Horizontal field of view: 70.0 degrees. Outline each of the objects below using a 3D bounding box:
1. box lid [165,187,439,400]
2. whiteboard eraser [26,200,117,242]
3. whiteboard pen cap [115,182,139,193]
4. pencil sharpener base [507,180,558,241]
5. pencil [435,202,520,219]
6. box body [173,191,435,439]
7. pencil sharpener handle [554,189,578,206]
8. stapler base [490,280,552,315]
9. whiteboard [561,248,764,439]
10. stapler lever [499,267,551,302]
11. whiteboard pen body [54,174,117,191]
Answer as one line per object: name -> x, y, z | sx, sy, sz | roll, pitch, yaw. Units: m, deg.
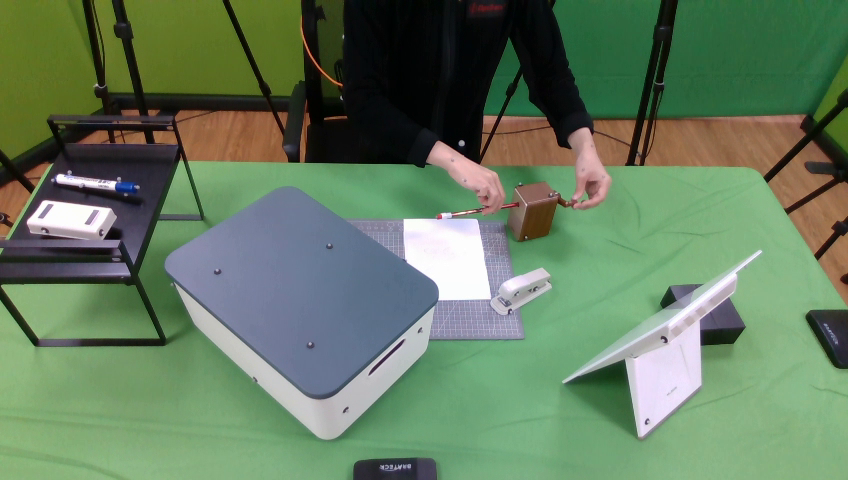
box lid -> -0.186, 0.060, 0.925 | 0.370, 0.015, 0.263 | 32, 53, 25
whiteboard eraser -> -0.532, -0.026, 0.919 | 0.113, 0.042, 0.055 | 7, 45, 3
whiteboard pen cap -> -0.483, -0.086, 0.984 | 0.033, 0.018, 0.018 | 7, 46, 10
pencil sharpener base -> 0.218, -0.059, 1.212 | 0.077, 0.107, 0.061 | -13, 48, -16
pencil -> 0.113, -0.059, 1.160 | 0.194, 0.012, 0.012 | -9, 48, -17
box body -> -0.191, 0.110, 0.979 | 0.362, 0.161, 0.254 | 33, 53, 24
pencil sharpener handle -> 0.273, -0.083, 1.192 | 0.031, 0.036, 0.067 | -13, 26, -16
stapler base -> 0.181, 0.094, 1.118 | 0.130, 0.024, 0.041 | -24, 57, -29
whiteboard -> 0.386, 0.176, 0.905 | 0.217, 0.306, 0.143 | -26, 72, -27
stapler lever -> 0.185, 0.076, 1.101 | 0.118, 0.040, 0.026 | -25, 57, -29
whiteboard pen body -> -0.541, -0.093, 0.993 | 0.140, 0.017, 0.017 | 7, 46, 9
